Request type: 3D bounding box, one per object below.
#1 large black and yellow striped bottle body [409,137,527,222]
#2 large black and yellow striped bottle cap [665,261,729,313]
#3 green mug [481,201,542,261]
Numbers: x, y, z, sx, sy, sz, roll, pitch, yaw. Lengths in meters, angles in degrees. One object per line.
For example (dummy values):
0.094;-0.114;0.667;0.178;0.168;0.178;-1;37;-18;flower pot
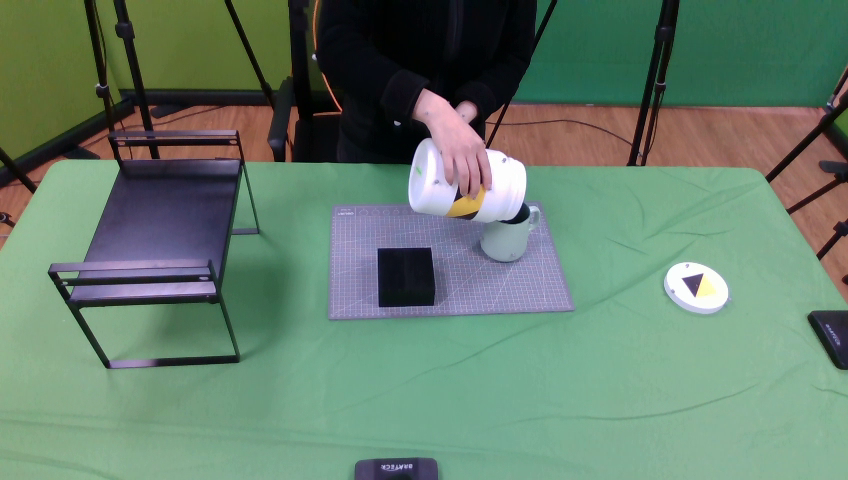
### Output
0.076;-0.103;1.068;0.184;0.131;0.130;8;45;-16;large black and yellow striped bottle body
0.518;0.087;1.152;0.115;0.019;0.114;2;47;-2;large black and yellow striped bottle cap
0.174;-0.027;1.173;0.125;0.105;0.092;-22;51;-23;green mug
